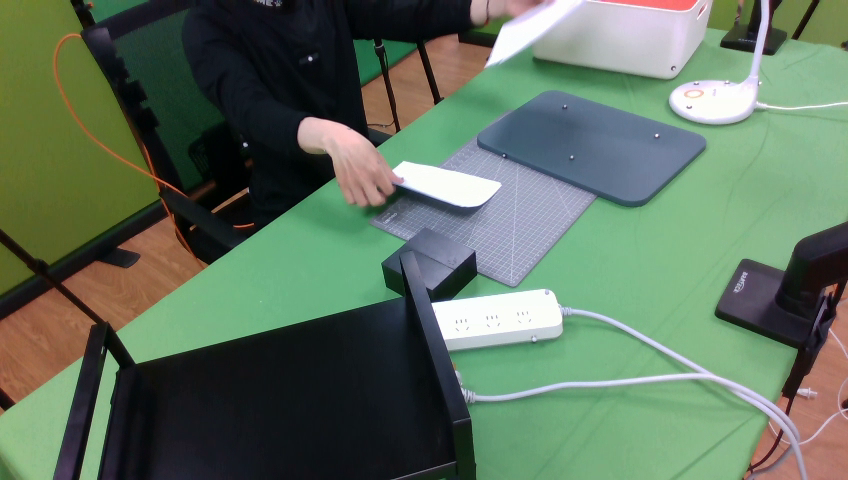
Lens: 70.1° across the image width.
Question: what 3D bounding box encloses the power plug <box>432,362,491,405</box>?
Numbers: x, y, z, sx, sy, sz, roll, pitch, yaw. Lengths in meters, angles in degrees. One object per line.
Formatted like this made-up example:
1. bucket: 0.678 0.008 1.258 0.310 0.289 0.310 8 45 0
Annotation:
1. power plug: 0.045 0.182 0.758 0.073 0.035 0.052 21 43 -18

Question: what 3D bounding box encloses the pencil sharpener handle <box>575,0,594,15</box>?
1. pencil sharpener handle: 0.401 -0.594 1.511 0.036 0.067 0.030 36 49 -1

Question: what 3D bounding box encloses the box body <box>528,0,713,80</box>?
1. box body: 0.450 -0.513 1.398 0.361 0.161 0.254 19 48 28

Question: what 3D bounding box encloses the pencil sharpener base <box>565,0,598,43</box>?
1. pencil sharpener base: 0.388 -0.550 1.483 0.061 0.107 0.077 14 44 23

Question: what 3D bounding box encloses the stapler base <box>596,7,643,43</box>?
1. stapler base: 0.453 -0.502 1.397 0.131 0.024 0.041 -39 63 -19

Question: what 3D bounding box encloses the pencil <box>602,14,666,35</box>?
1. pencil: 0.483 -0.494 1.388 0.195 0.012 0.012 -22 42 -20

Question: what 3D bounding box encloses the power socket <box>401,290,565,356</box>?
1. power socket: 0.080 0.112 0.822 0.227 0.033 0.072 -7 41 0

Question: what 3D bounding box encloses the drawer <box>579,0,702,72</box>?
1. drawer: 0.484 -0.489 1.361 0.210 0.073 0.194 24 63 21

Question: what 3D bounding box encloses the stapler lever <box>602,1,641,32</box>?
1. stapler lever: 0.451 -0.516 1.378 0.118 0.040 0.026 -39 63 -18

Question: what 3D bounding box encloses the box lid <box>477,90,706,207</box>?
1. box lid: 0.310 -0.190 1.157 0.368 0.015 0.264 30 52 35

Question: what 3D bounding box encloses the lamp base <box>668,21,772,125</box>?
1. lamp base: 0.577 -0.333 1.155 0.179 0.181 0.160 6 42 12

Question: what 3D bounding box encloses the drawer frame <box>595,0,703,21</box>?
1. drawer frame: 0.487 -0.489 1.360 0.212 0.083 0.202 24 62 20
